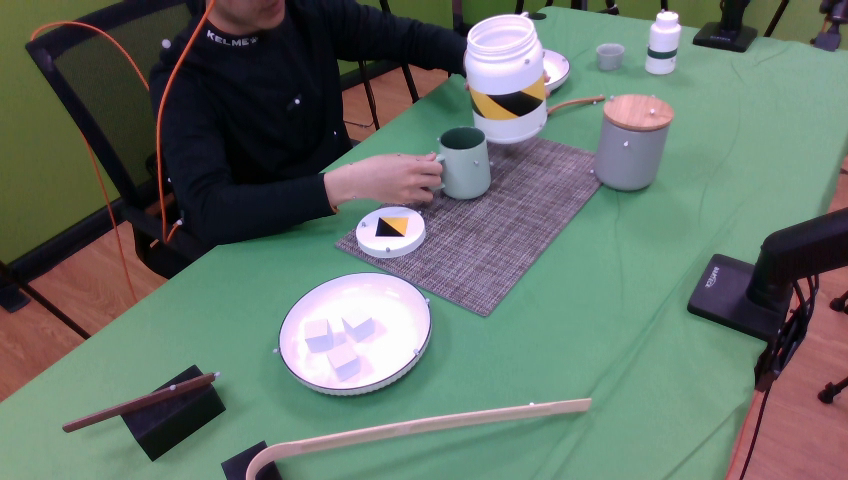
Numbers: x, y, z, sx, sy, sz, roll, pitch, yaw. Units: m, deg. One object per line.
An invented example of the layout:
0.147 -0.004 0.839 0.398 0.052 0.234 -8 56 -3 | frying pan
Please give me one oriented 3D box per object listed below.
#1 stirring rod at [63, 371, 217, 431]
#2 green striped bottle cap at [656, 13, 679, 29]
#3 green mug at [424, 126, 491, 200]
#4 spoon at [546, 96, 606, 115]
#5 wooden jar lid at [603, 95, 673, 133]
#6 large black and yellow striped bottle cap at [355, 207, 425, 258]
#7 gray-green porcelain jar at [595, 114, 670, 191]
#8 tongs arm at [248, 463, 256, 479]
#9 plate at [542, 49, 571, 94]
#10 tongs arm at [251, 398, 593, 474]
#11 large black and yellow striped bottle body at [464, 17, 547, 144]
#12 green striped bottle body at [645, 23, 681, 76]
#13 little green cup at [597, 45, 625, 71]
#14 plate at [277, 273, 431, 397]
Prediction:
-0.337 0.192 0.723 0.177 0.014 0.005 -18 42 -12 | stirring rod
0.515 -0.463 1.278 0.044 0.020 0.044 -6 42 6 | green striped bottle cap
0.055 -0.125 1.039 0.126 0.105 0.091 -26 44 -20 | green mug
0.291 -0.277 1.249 0.194 0.022 0.041 -17 27 -11 | spoon
0.343 -0.200 0.974 0.108 0.021 0.108 -2 39 2 | wooden jar lid
-0.056 -0.014 0.993 0.115 0.019 0.114 -3 40 3 | large black and yellow striped bottle cap
0.346 -0.155 1.017 0.106 0.127 0.105 -2 43 2 | gray-green porcelain jar
0.012 0.262 0.615 0.385 0.026 0.050 2 42 -2 | tongs arm
0.223 -0.371 1.357 0.209 0.038 0.208 -4 41 4 | plate
0.008 0.212 0.675 0.389 0.028 0.028 -5 46 -11 | tongs arm
0.142 -0.275 1.046 0.130 0.185 0.130 -8 44 8 | large black and yellow striped bottle body
0.520 -0.424 1.312 0.063 0.120 0.063 -4 40 4 | green striped bottle body
0.423 -0.413 1.375 0.061 0.039 0.061 -3 41 3 | little green cup
-0.091 0.129 0.821 0.207 0.039 0.206 -4 40 4 | plate
